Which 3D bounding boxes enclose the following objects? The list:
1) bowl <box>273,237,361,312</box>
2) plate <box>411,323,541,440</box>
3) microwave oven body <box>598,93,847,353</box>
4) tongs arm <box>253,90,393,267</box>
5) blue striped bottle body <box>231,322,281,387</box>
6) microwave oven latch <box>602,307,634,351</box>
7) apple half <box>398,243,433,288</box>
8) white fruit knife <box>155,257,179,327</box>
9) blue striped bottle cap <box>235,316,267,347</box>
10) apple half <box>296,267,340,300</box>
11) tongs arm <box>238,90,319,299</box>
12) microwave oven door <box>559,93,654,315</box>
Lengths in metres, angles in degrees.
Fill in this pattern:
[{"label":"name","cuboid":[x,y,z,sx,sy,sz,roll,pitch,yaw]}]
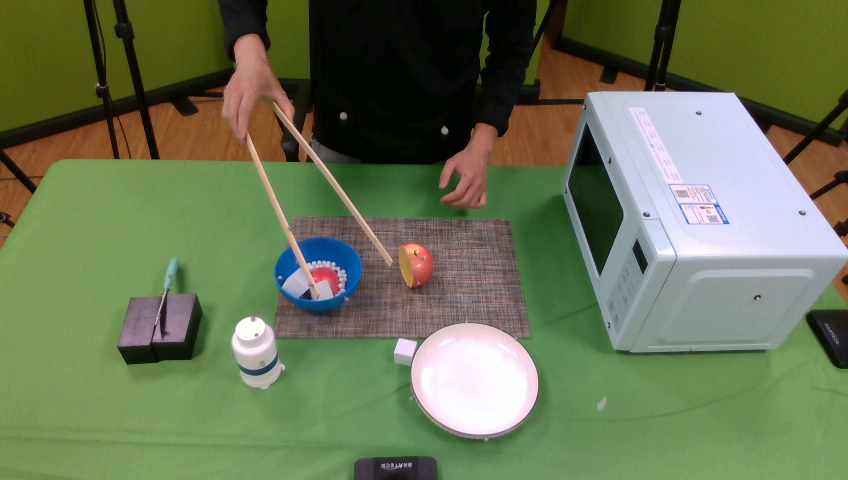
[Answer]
[{"label":"bowl","cuboid":[-0.186,0.074,1.070,0.151,0.077,0.150,3,46,-2]},{"label":"plate","cuboid":[0.082,0.228,0.976,0.208,0.039,0.206,2,45,-2]},{"label":"microwave oven body","cuboid":[0.475,-0.041,1.109,0.326,0.261,0.438,-1,45,-4]},{"label":"tongs arm","cuboid":[-0.169,-0.108,1.005,0.028,0.028,0.386,-33,76,-21]},{"label":"blue striped bottle body","cuboid":[-0.262,0.171,0.944,0.063,0.121,0.062,2,46,-2]},{"label":"microwave oven latch","cuboid":[0.332,0.153,1.043,0.030,0.029,0.078,-1,45,-4]},{"label":"apple half","cuboid":[-0.012,0.046,1.115,0.053,0.075,0.080,-11,44,-20]},{"label":"white fruit knife","cuboid":[-0.440,0.085,1.037,0.016,0.027,0.206,10,26,-19]},{"label":"blue striped bottle cap","cuboid":[-0.260,0.137,0.907,0.044,0.021,0.044,2,43,-2]},{"label":"apple half","cuboid":[-0.187,0.070,1.067,0.081,0.033,0.081,3,47,-3]},{"label":"tongs arm","cuboid":[-0.229,-0.082,0.976,0.051,0.026,0.383,-22,71,-21]},{"label":"microwave oven door","cuboid":[0.327,-0.074,1.123,0.039,0.245,0.353,0,46,-5]}]
